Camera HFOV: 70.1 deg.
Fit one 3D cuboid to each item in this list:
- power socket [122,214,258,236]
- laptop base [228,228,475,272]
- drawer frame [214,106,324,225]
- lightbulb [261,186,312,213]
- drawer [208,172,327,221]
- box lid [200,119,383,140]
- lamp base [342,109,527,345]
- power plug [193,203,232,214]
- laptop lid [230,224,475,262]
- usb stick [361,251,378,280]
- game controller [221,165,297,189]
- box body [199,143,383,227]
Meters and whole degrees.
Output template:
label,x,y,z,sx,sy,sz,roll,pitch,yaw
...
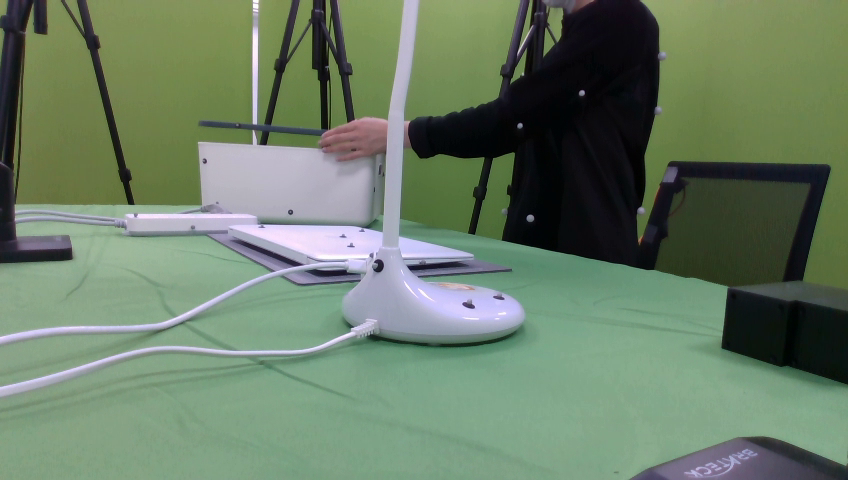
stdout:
label,x,y,z,sx,sy,sz,roll,pitch,yaw
power socket,-0.398,-0.028,1.049,0.228,0.032,0.072,-3,8,-34
laptop base,-0.122,0.011,0.889,0.237,0.023,0.352,1,7,-35
drawer frame,-0.313,-0.142,1.308,0.082,0.213,0.202,22,-18,29
lightbulb,-0.294,-0.082,1.293,0.108,0.059,0.059,-14,13,-20
drawer,-0.334,-0.101,1.326,0.212,0.073,0.194,8,11,-1
box lid,-0.267,-0.237,1.319,0.372,0.015,0.263,5,8,1
lamp base,0.006,-0.015,0.505,0.160,0.180,0.180,6,11,29
power plug,-0.394,-0.042,1.140,0.072,0.052,0.035,-13,2,32
laptop lid,-0.120,0.000,0.889,0.243,0.013,0.355,1,7,-33
usb stick,-0.051,0.033,0.656,0.027,0.021,0.059,4,-27,-20
game controller,-0.362,-0.138,1.317,0.156,0.051,0.096,-2,10,-24
box body,-0.276,-0.124,1.335,0.364,0.160,0.254,3,7,1
